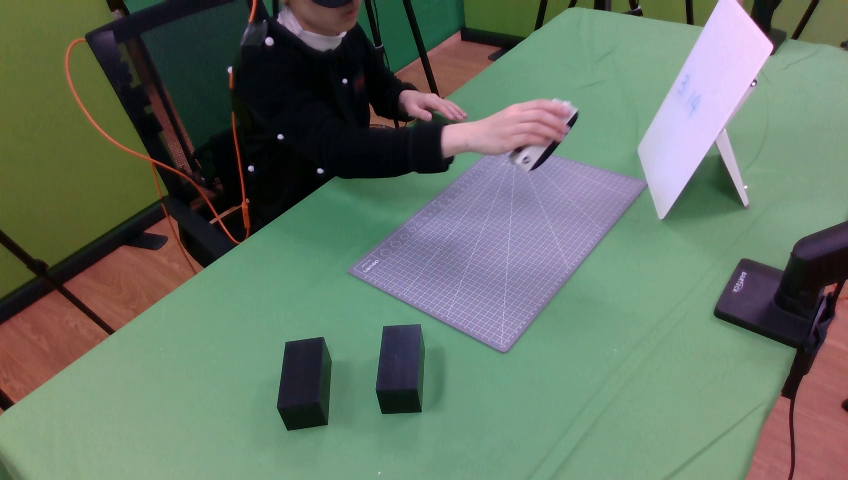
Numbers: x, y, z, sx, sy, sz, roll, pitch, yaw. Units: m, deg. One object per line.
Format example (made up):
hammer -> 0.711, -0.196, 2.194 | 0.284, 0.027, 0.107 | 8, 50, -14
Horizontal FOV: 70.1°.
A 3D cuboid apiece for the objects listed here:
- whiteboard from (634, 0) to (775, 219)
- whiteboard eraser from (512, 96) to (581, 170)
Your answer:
whiteboard -> 0.485, -0.193, 0.957 | 0.144, 0.305, 0.216 | 14, 41, -4
whiteboard eraser -> 0.180, -0.153, 0.880 | 0.112, 0.042, 0.055 | -53, 22, 9
